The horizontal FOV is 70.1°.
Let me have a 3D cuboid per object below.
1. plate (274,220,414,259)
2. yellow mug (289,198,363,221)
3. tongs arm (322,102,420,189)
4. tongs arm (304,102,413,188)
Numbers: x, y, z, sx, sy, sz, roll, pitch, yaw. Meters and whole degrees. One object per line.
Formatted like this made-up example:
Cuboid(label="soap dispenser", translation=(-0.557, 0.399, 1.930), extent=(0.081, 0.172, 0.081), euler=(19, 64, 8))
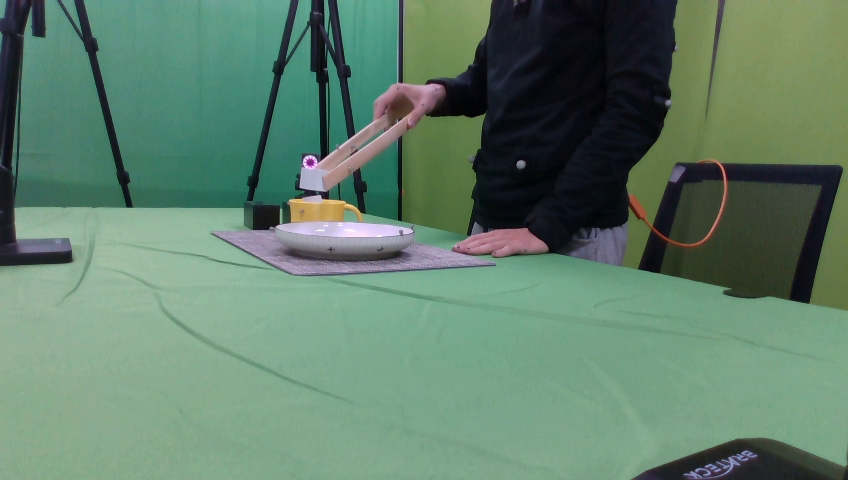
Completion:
Cuboid(label="plate", translation=(-0.118, -0.001, 0.903), extent=(0.208, 0.039, 0.207), euler=(3, 7, 0))
Cuboid(label="yellow mug", translation=(-0.173, -0.039, 1.072), extent=(0.131, 0.064, 0.100), euler=(3, 7, 0))
Cuboid(label="tongs arm", translation=(-0.081, -0.177, 1.072), extent=(0.028, 0.028, 0.388), euler=(1, 28, 24))
Cuboid(label="tongs arm", translation=(-0.103, -0.179, 1.081), extent=(0.050, 0.026, 0.385), euler=(2, 29, 19))
